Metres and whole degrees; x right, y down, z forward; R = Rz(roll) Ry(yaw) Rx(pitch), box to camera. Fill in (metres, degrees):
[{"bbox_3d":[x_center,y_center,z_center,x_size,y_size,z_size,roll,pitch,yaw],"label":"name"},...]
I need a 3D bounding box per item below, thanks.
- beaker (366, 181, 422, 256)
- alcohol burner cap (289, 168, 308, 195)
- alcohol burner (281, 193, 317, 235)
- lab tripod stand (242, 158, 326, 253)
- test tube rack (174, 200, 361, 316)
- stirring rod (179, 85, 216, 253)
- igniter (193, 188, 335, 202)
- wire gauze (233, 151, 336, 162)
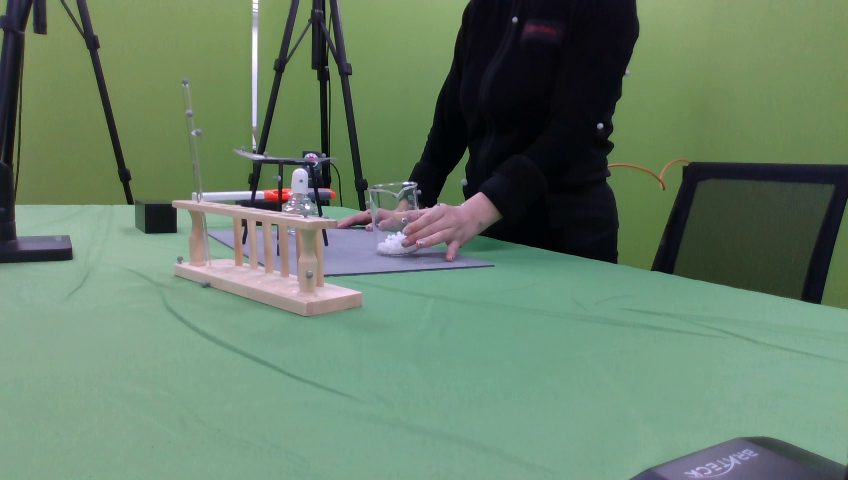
[{"bbox_3d":[-0.041,-0.031,0.881,0.074,0.100,0.083,-8,13,-10],"label":"beaker"},{"bbox_3d":[-0.224,-0.105,1.081,0.034,0.048,0.034,4,3,0],"label":"alcohol burner cap"},{"bbox_3d":[-0.225,-0.069,1.086,0.078,0.119,0.078,2,6,0],"label":"alcohol burner"},{"bbox_3d":[-0.207,-0.054,0.895,0.148,0.131,0.148,2,5,0],"label":"lab tripod stand"},{"bbox_3d":[-0.169,0.009,0.622,0.241,0.085,0.067,9,9,41],"label":"test tube rack"},{"bbox_3d":[-0.237,-0.073,0.634,0.006,0.176,0.014,0,10,42],"label":"stirring rod"},{"bbox_3d":[-0.312,-0.089,1.209,0.278,0.025,0.057,-5,13,-31],"label":"igniter"},{"bbox_3d":[-0.205,-0.120,0.887,0.122,0.011,0.124,0,7,-32],"label":"wire gauze"}]
